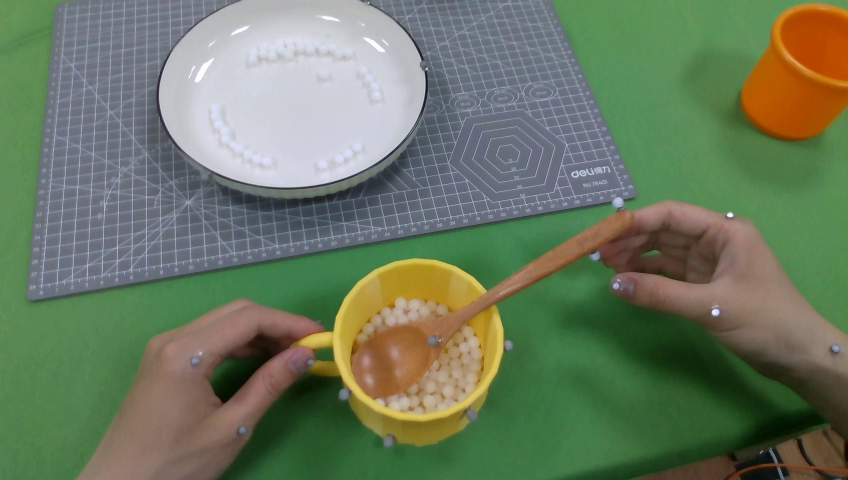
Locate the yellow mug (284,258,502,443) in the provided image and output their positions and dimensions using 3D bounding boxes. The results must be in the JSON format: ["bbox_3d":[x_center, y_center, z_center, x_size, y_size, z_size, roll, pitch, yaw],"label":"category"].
[{"bbox_3d":[-0.020,0.070,0.375,0.131,0.064,0.099,-3,61,-4],"label":"yellow mug"}]

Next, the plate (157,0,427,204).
[{"bbox_3d":[-0.101,-0.113,0.486,0.208,0.039,0.206,1,61,-2],"label":"plate"}]

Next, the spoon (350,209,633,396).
[{"bbox_3d":[0.037,0.037,0.360,0.194,0.022,0.041,-33,69,15],"label":"spoon"}]
